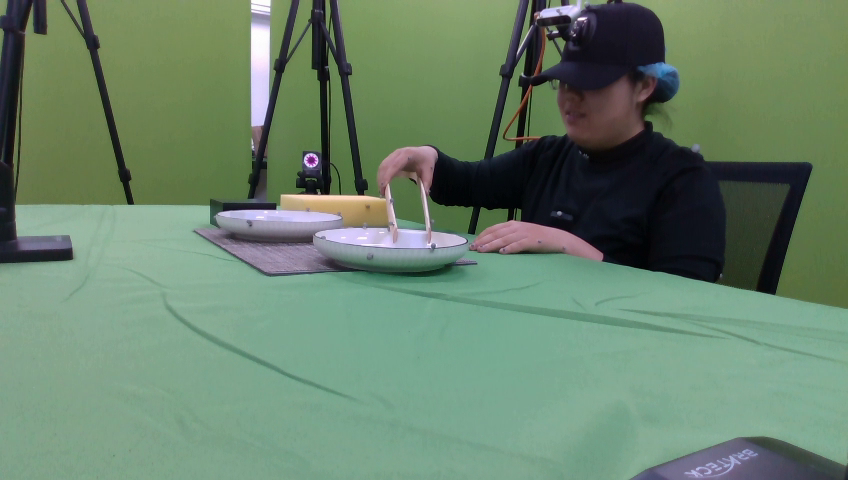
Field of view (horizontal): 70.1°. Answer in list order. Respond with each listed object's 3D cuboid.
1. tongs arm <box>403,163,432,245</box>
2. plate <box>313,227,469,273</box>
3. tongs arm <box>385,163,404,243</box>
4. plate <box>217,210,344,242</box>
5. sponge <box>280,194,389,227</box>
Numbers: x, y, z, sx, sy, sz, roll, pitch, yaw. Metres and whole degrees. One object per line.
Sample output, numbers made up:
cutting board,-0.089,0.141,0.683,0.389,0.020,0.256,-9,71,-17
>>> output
tongs arm,-0.011,-0.071,1.011,0.028,0.028,0.386,-2,21,-5
plate,-0.044,0.012,0.807,0.209,0.038,0.209,2,7,0
tongs arm,-0.041,-0.073,1.008,0.051,0.026,0.383,1,20,-8
plate,-0.241,-0.024,1.026,0.208,0.039,0.207,3,7,0
sponge,-0.188,-0.063,1.291,0.208,0.061,0.117,-2,9,-35
